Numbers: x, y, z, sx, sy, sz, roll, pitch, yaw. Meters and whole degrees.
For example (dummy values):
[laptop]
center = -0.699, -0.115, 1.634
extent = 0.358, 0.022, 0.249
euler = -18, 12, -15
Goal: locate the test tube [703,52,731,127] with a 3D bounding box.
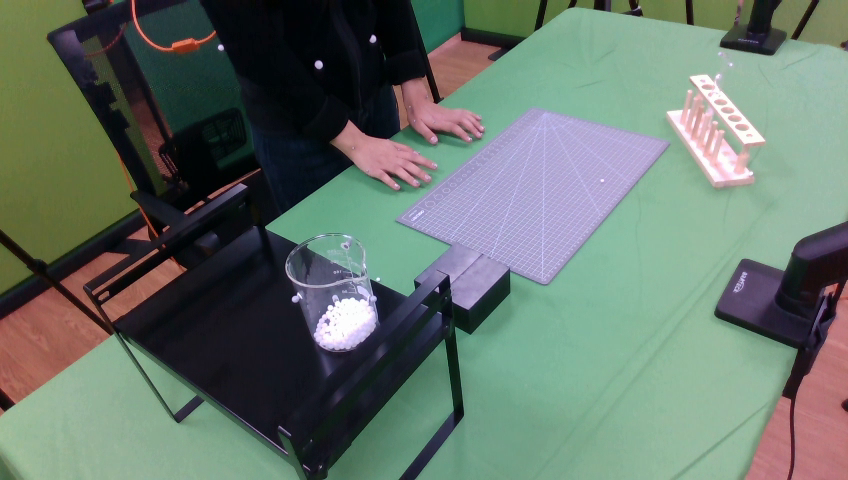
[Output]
[test tube]
center = 0.521, -0.264, 1.078
extent = 0.017, 0.151, 0.017
euler = -4, 47, 5

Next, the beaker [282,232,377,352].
[beaker]
center = -0.084, 0.054, 0.587
extent = 0.083, 0.101, 0.074
euler = 17, 47, 25

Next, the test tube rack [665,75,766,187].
[test tube rack]
center = 0.512, -0.201, 1.082
extent = 0.067, 0.085, 0.241
euler = -5, 41, 2
